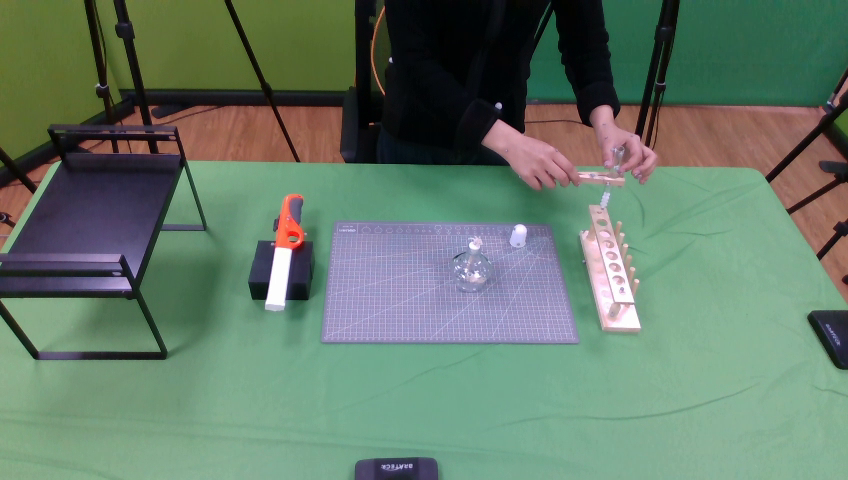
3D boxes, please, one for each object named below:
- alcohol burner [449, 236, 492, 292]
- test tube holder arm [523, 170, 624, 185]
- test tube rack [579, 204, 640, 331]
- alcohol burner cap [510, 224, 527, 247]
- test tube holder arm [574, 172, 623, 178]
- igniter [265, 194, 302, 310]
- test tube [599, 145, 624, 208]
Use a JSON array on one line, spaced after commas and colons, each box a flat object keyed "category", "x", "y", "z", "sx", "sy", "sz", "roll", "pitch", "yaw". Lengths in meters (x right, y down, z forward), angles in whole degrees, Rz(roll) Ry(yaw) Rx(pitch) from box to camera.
[{"category": "alcohol burner", "x": 0.086, "y": 0.038, "z": 1.101, "sx": 0.078, "sy": 0.119, "sz": 0.077, "roll": 2, "pitch": 44, "yaw": -2}, {"category": "test tube holder arm", "x": 0.269, "y": -0.113, "z": 1.097, "sx": 0.178, "sy": 0.015, "sz": 0.013, "roll": 4, "pitch": 46, "yaw": 6}, {"category": "test tube rack", "x": 0.353, "y": 0.047, "z": 1.137, "sx": 0.067, "sy": 0.085, "sz": 0.241, "roll": 2, "pitch": 46, "yaw": -2}, {"category": "alcohol burner cap", "x": 0.189, "y": -0.011, "z": 1.205, "sx": 0.034, "sy": 0.048, "sz": 0.033, "roll": 0, "pitch": 47, "yaw": 0}, {"category": "test tube holder arm", "x": 0.315, "y": -0.115, "z": 1.097, "sx": 0.088, "sy": 0.015, "sz": 0.010, "roll": 0, "pitch": 46, "yaw": 2}, {"category": "igniter", "x": -0.253, "y": 0.011, "z": 1.099, "sx": 0.057, "sy": 0.025, "sz": 0.274, "roll": 9, "pitch": 46, "yaw": -12}, {"category": "test tube", "x": 0.337, "y": -0.111, "z": 1.094, "sx": 0.017, "sy": 0.151, "sz": 0.017, "roll": -1, "pitch": 51, "yaw": 2}]
